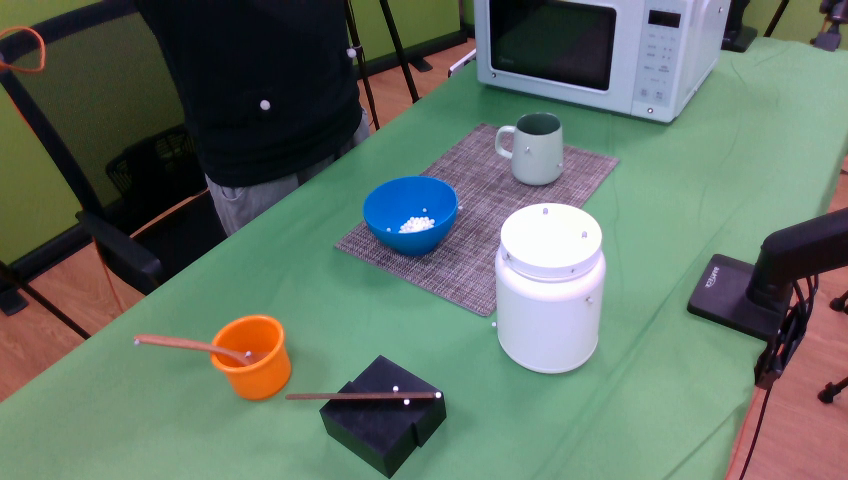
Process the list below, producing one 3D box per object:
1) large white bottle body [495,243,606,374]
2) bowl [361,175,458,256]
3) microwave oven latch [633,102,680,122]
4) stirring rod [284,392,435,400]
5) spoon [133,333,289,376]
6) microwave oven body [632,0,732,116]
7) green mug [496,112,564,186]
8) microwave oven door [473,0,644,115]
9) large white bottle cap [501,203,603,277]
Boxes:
[{"bbox_3d":[0.155,0.061,0.748,0.130,0.185,0.130,-4,40,4],"label":"large white bottle body"},{"bbox_3d":[-0.019,-0.029,0.955,0.151,0.077,0.150,-4,40,3],"label":"bowl"},{"bbox_3d":[0.444,-0.249,1.157,0.078,0.029,0.030,21,49,30],"label":"microwave oven latch"},{"bbox_3d":[-0.075,0.180,0.698,0.176,0.006,0.014,-2,6,6],"label":"stirring rod"},{"bbox_3d":[-0.257,0.137,0.747,0.021,0.195,0.041,-46,40,23],"label":"spoon"},{"bbox_3d":[0.377,-0.462,1.267,0.438,0.261,0.327,21,48,30],"label":"microwave oven body"},{"bbox_3d":[0.184,-0.161,1.061,0.124,0.105,0.092,15,46,24],"label":"green mug"},{"bbox_3d":[0.257,-0.396,1.199,0.353,0.245,0.039,21,48,29],"label":"microwave oven door"},{"bbox_3d":[0.146,-0.003,0.693,0.115,0.018,0.114,-4,41,4],"label":"large white bottle cap"}]
